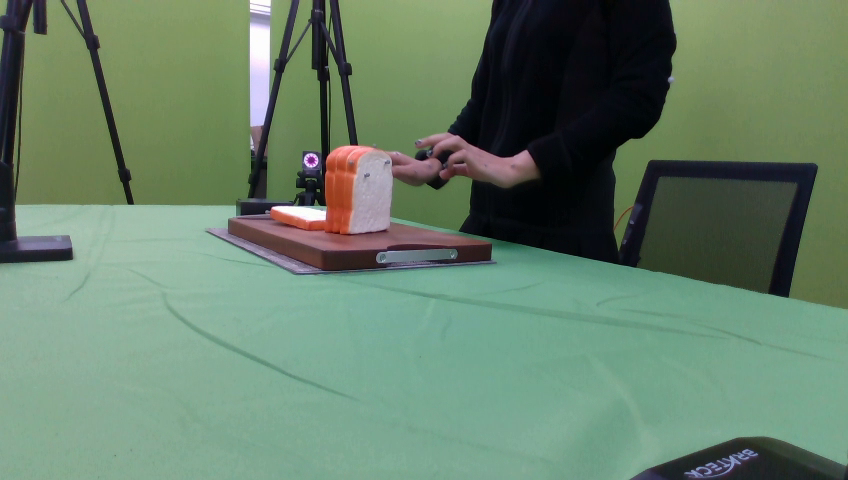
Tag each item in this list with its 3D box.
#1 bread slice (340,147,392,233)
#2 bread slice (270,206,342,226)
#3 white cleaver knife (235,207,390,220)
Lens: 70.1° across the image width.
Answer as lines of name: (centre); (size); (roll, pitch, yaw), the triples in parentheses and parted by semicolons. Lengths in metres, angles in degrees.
bread slice: (-0.085, -0.075, 0.917); (0.019, 0.131, 0.105); (12, 13, 32)
bread slice: (-0.188, -0.040, 1.002); (0.133, 0.018, 0.107); (13, 10, 43)
white cleaver knife: (-0.199, -0.046, 1.108); (0.288, 0.021, 0.065); (-6, 6, -22)
